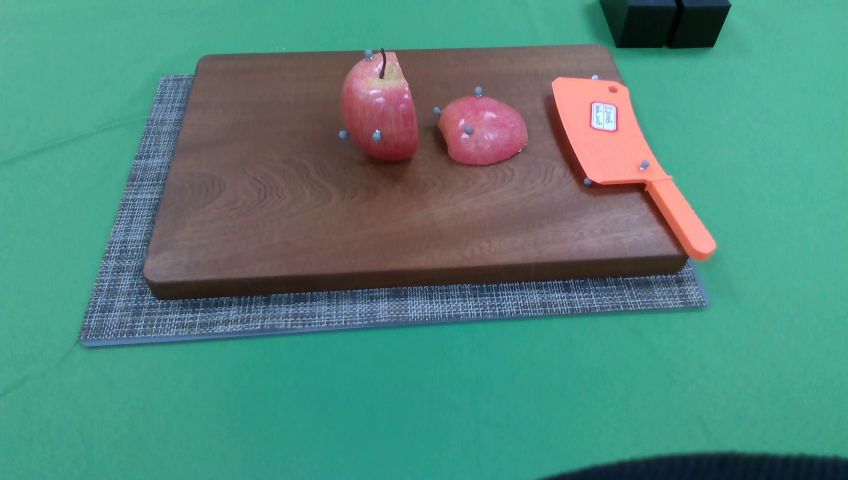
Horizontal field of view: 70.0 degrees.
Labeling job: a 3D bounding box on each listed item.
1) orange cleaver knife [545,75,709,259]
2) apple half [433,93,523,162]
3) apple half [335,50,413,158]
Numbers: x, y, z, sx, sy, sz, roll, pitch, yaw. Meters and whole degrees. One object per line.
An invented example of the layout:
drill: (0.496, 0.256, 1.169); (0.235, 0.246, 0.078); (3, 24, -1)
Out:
orange cleaver knife: (0.158, -0.069, 0.496); (0.077, 0.012, 0.209); (-8, 54, -11)
apple half: (0.046, -0.104, 0.511); (0.081, 0.033, 0.080); (-1, 52, 1)
apple half: (-0.043, -0.104, 0.483); (0.053, 0.075, 0.080); (-15, 57, -7)
